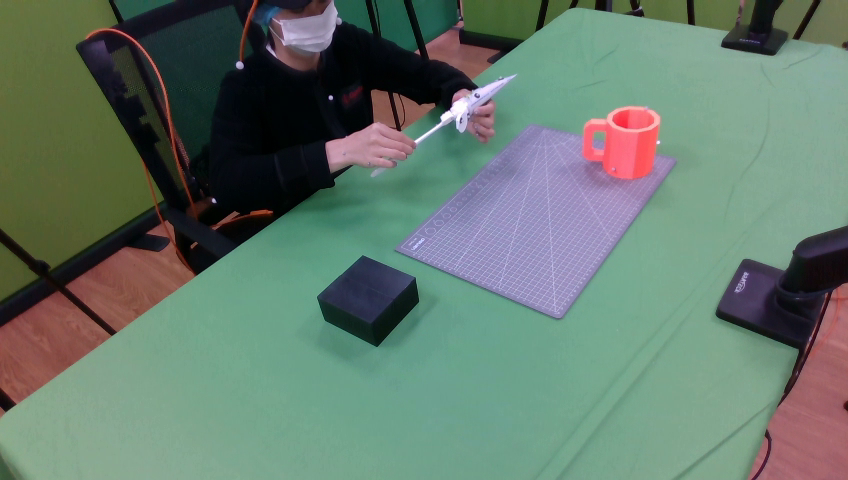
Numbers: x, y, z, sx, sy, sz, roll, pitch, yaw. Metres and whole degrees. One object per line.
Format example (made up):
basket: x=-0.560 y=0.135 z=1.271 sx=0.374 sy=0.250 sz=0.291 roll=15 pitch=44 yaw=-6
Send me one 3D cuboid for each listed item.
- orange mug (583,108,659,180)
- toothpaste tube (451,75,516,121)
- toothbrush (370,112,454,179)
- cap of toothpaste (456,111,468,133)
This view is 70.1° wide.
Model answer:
orange mug: x=0.343 y=-0.171 z=1.061 sx=0.126 sy=0.101 sz=0.083 roll=10 pitch=43 yaw=15
toothpaste tube: x=0.102 y=-0.255 z=1.075 sx=0.054 sy=0.035 sz=0.165 roll=3 pitch=36 yaw=46
toothbrush: x=-0.023 y=-0.161 z=1.040 sx=0.181 sy=0.014 sz=0.016 roll=-35 pitch=68 yaw=15
cap of toothpaste: x=0.063 y=-0.199 z=1.015 sx=0.011 sy=0.037 sz=0.037 roll=14 pitch=44 yaw=22
